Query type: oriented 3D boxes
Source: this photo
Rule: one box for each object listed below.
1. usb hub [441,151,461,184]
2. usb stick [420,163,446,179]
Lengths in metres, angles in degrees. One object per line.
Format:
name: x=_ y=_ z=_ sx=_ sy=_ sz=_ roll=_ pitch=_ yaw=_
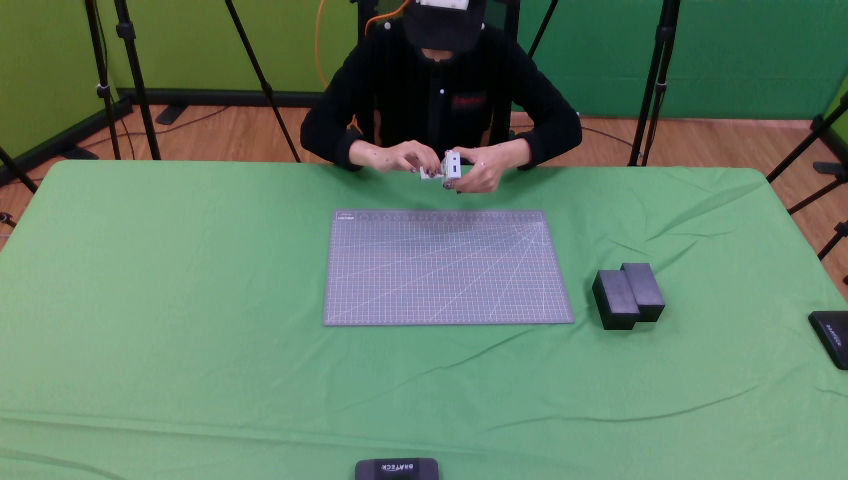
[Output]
usb hub: x=0.053 y=-0.142 z=1.196 sx=0.025 sy=0.125 sz=0.049 roll=-4 pitch=89 yaw=-5
usb stick: x=0.022 y=-0.135 z=1.188 sx=0.059 sy=0.021 sz=0.027 roll=-4 pitch=89 yaw=1
